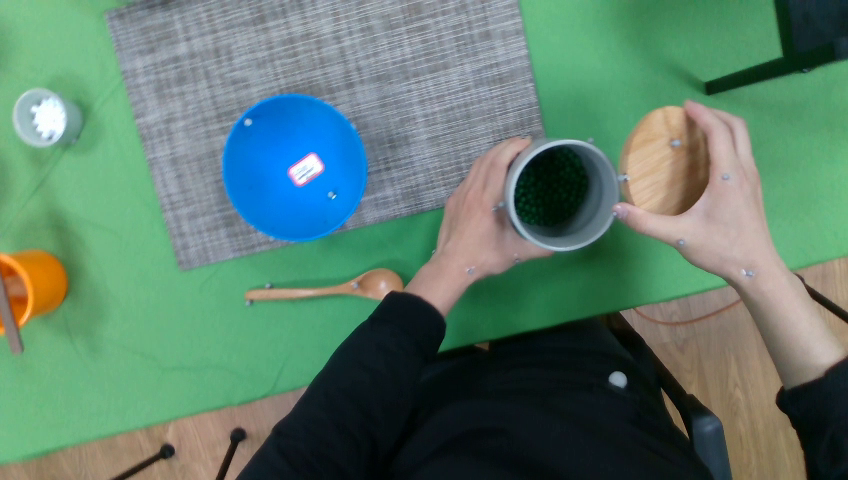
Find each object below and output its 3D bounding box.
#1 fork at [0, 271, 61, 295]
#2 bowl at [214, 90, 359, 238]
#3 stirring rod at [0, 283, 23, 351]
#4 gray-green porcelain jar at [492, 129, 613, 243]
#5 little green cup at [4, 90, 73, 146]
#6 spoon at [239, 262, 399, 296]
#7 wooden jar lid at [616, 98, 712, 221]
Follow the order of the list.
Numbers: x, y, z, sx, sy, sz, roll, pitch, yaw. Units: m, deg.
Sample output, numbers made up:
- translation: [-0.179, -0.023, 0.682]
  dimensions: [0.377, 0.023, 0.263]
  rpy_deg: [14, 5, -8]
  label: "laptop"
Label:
- translation: [-0.520, 0.053, 0.665]
  dimensions: [0.208, 0.018, 0.028]
  rpy_deg: [-3, 105, -41]
  label: "fork"
- translation: [-0.139, -0.082, 0.656]
  dimensions: [0.151, 0.076, 0.152]
  rpy_deg: [0, 100, 3]
  label: "bowl"
- translation: [-0.470, 0.038, 0.657]
  dimensions: [0.014, 0.006, 0.176]
  rpy_deg: [-12, 99, 3]
  label: "stirring rod"
- translation: [0.125, -0.061, 0.625]
  dimensions: [0.106, 0.126, 0.106]
  rpy_deg: [0, 102, 1]
  label: "gray-green porcelain jar"
- translation: [-0.433, -0.137, 0.684]
  dimensions: [0.061, 0.038, 0.062]
  rpy_deg: [1, 100, 3]
  label: "little green cup"
- translation: [-0.125, 0.051, 0.710]
  dimensions: [0.194, 0.021, 0.042]
  rpy_deg: [-6, 118, 4]
  label: "spoon"
- translation: [0.213, -0.071, 0.541]
  dimensions: [0.109, 0.020, 0.108]
  rpy_deg: [-3, 98, -26]
  label: "wooden jar lid"
